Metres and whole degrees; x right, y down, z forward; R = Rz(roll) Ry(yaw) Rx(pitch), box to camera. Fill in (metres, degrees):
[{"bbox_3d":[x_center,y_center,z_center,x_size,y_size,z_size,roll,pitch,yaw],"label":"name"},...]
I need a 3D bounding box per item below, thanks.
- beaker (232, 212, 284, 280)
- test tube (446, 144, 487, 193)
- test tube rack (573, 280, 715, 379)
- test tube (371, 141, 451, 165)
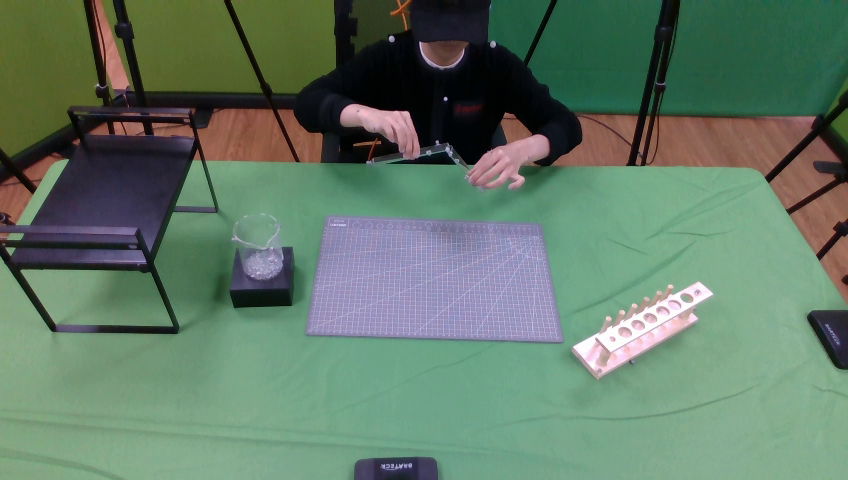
[{"bbox_3d":[-0.280,0.016,1.037,0.074,0.101,0.083,-18,50,-20],"label":"beaker"},{"bbox_3d":[0.084,-0.136,1.174,0.017,0.151,0.017,-18,52,25],"label":"test tube"},{"bbox_3d":[0.378,0.140,1.038,0.242,0.085,0.066,-22,51,-23],"label":"test tube rack"},{"bbox_3d":[-0.024,-0.159,1.115,0.150,0.017,0.017,-12,48,-4],"label":"test tube"}]
